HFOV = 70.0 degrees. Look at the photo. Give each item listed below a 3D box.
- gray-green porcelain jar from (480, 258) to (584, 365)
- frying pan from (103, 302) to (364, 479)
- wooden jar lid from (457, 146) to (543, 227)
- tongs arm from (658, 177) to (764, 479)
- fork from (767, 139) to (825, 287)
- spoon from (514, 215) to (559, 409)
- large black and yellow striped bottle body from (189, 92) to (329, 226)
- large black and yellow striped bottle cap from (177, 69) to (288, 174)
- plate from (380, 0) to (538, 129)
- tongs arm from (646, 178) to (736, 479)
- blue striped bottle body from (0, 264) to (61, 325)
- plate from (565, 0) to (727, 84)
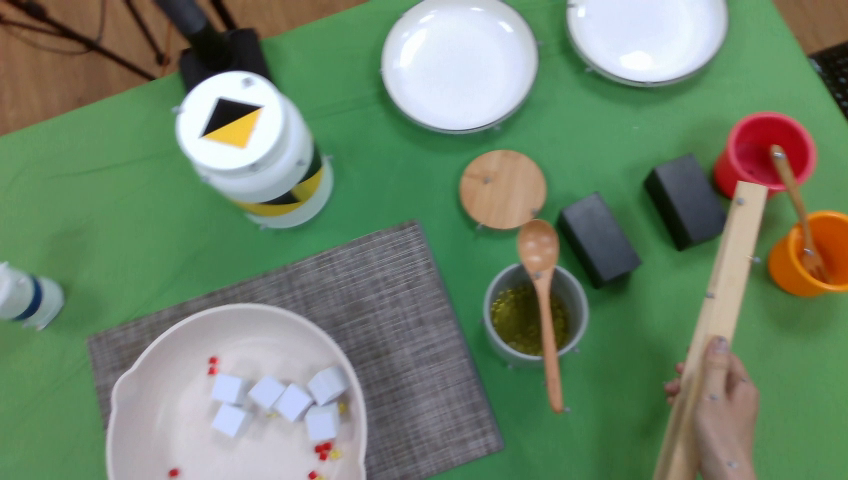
[{"bbox_3d":[0.116,0.084,0.677,0.106,0.127,0.105,-1,75,4],"label":"gray-green porcelain jar"},{"bbox_3d":[-0.246,0.309,0.655,0.306,0.103,0.485,20,69,10],"label":"frying pan"},{"bbox_3d":[0.097,-0.067,0.774,0.108,0.021,0.108,-1,77,4],"label":"wooden jar lid"},{"bbox_3d":[0.273,0.128,0.606,0.026,0.051,0.384,15,89,12],"label":"tongs arm"},{"bbox_3d":[0.411,-0.026,0.669,0.028,0.018,0.209,-33,119,4],"label":"fork"},{"bbox_3d":[0.118,0.071,0.607,0.041,0.022,0.193,-4,78,-1],"label":"spoon"},{"bbox_3d":[-0.196,-0.103,0.722,0.131,0.185,0.130,-1,74,5],"label":"large black and yellow striped bottle body"},{"bbox_3d":[-0.203,-0.126,0.641,0.115,0.019,0.114,-1,76,4],"label":"large black and yellow striped bottle cap"},{"bbox_3d":[0.047,-0.241,0.814,0.207,0.039,0.206,-1,75,5],"label":"plate"},{"bbox_3d":[0.276,0.128,0.619,0.027,0.028,0.388,14,96,8],"label":"tongs arm"},{"bbox_3d":[-0.509,0.064,0.735,0.063,0.121,0.062,-1,75,5],"label":"blue striped bottle body"},{"bbox_3d":[0.291,-0.299,0.808,0.209,0.038,0.208,-1,75,5],"label":"plate"}]
